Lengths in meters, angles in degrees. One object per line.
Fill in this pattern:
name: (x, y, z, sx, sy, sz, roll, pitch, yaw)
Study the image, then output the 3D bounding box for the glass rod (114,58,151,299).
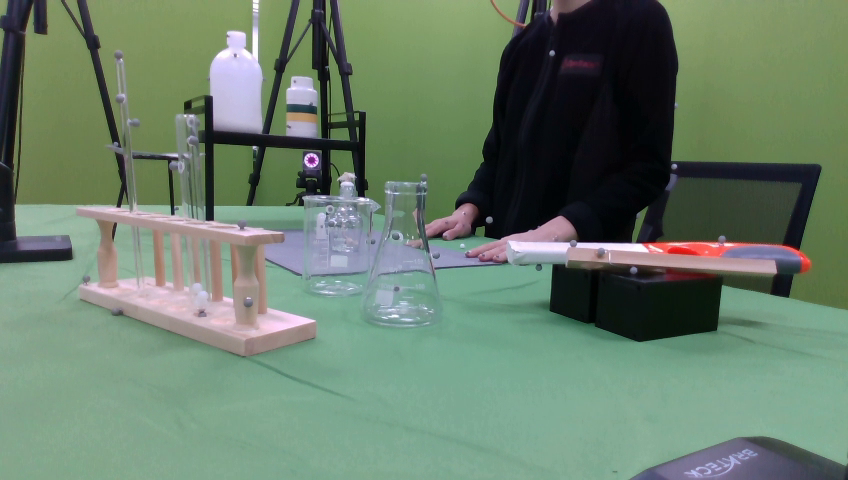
glass rod: (-0.236, -0.044, 0.492, 0.008, 0.199, 0.008, 0, 15, 0)

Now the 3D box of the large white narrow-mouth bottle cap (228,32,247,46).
large white narrow-mouth bottle cap: (-0.364, -0.391, 1.180, 0.038, 0.024, 0.037, 3, 8, 0)

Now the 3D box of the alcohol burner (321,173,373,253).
alcohol burner: (-0.115, -0.041, 0.905, 0.078, 0.119, 0.078, 1, 6, 0)

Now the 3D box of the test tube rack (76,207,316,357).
test tube rack: (-0.196, 0.023, 0.500, 0.241, 0.085, 0.067, 8, 9, 36)

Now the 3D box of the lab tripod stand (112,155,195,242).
lab tripod stand: (-0.405, -0.064, 0.931, 0.148, 0.131, 0.148, 1, 6, 0)

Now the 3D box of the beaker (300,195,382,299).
beaker: (-0.087, 0.006, 0.626, 0.084, 0.100, 0.074, 1, 8, -17)

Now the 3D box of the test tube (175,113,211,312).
test tube: (-0.174, -0.020, 0.458, 0.017, 0.150, 0.017, -3, 5, 1)

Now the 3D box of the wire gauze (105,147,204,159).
wire gauze: (-0.407, -0.131, 0.928, 0.125, 0.011, 0.121, 2, 6, -11)

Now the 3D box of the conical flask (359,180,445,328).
conical flask: (-0.017, 0.010, 0.522, 0.075, 0.122, 0.075, 2, 7, 0)

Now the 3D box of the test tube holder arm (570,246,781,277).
test tube holder arm: (0.217, 0.019, 0.524, 0.178, 0.015, 0.013, 3, -23, 3)

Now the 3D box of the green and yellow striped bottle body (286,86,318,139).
green and yellow striped bottle body: (-0.251, -0.270, 1.245, 0.063, 0.119, 0.063, 2, 7, 0)

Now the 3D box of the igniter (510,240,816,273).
igniter: (0.220, 0.015, 0.566, 0.277, 0.025, 0.057, 2, 16, 0)

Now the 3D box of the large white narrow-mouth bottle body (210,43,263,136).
large white narrow-mouth bottle body: (-0.369, -0.305, 1.194, 0.102, 0.194, 0.102, 3, 8, 0)

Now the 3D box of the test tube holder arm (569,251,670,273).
test tube holder arm: (0.172, 0.019, 0.532, 0.088, 0.015, 0.010, 3, -23, 4)

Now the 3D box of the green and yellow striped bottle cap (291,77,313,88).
green and yellow striped bottle cap: (-0.249, -0.321, 1.237, 0.045, 0.020, 0.045, 3, 5, 0)

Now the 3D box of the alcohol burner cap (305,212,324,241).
alcohol burner cap: (-0.185, -0.023, 1.027, 0.034, 0.048, 0.034, 2, 7, 0)
